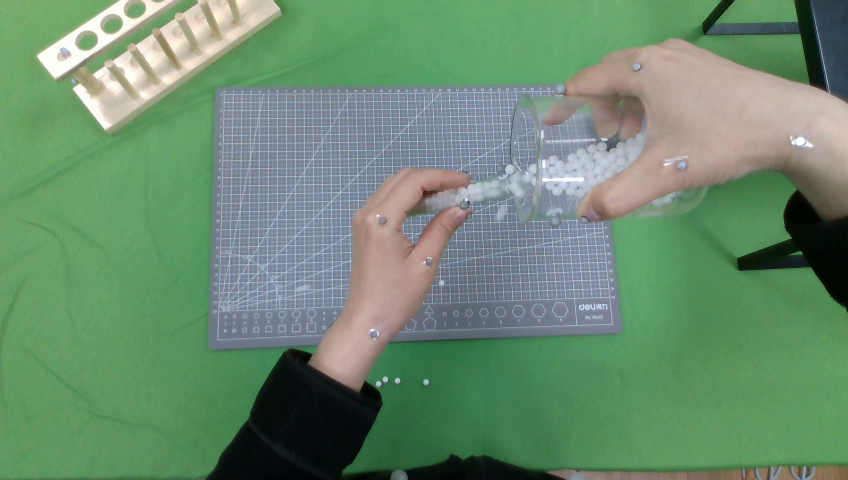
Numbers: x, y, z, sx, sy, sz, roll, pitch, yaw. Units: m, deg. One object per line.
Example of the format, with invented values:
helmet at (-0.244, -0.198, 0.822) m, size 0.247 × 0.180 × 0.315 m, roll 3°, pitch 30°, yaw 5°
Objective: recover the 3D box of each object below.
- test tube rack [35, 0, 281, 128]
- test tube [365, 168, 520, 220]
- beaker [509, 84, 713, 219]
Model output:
test tube rack at (-0.282, -0.234, 0.667) m, size 0.242 × 0.085 × 0.066 m, roll -39°, pitch 83°, yaw -10°
test tube at (0.006, -0.031, 0.440) m, size 0.017 × 0.149 × 0.017 m, roll 7°, pitch 79°, yaw -43°
beaker at (0.104, -0.049, 0.353) m, size 0.100 × 0.084 × 0.073 m, roll -1°, pitch 74°, yaw -3°
